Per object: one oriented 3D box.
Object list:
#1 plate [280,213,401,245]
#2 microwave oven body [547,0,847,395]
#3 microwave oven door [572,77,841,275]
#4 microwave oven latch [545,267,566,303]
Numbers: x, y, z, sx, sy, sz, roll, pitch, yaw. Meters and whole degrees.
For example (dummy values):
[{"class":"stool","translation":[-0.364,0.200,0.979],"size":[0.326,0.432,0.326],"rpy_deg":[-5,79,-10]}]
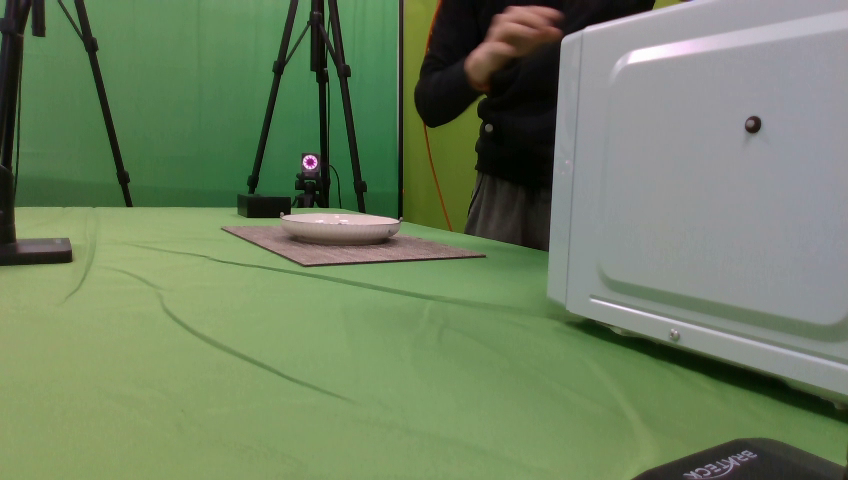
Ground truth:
[{"class":"plate","translation":[-0.146,-0.021,1.057],"size":[0.209,0.038,0.209],"rpy_deg":[2,7,0]},{"class":"microwave oven body","translation":[0.378,-0.046,0.510],"size":[0.444,0.260,0.324],"rpy_deg":[-2,7,-31]},{"class":"microwave oven door","translation":[0.376,-0.094,0.866],"size":[0.039,0.243,0.354],"rpy_deg":[-5,9,-41]},{"class":"microwave oven latch","translation":[0.148,0.039,0.555],"size":[0.079,0.029,0.030],"rpy_deg":[-1,7,-28]}]
